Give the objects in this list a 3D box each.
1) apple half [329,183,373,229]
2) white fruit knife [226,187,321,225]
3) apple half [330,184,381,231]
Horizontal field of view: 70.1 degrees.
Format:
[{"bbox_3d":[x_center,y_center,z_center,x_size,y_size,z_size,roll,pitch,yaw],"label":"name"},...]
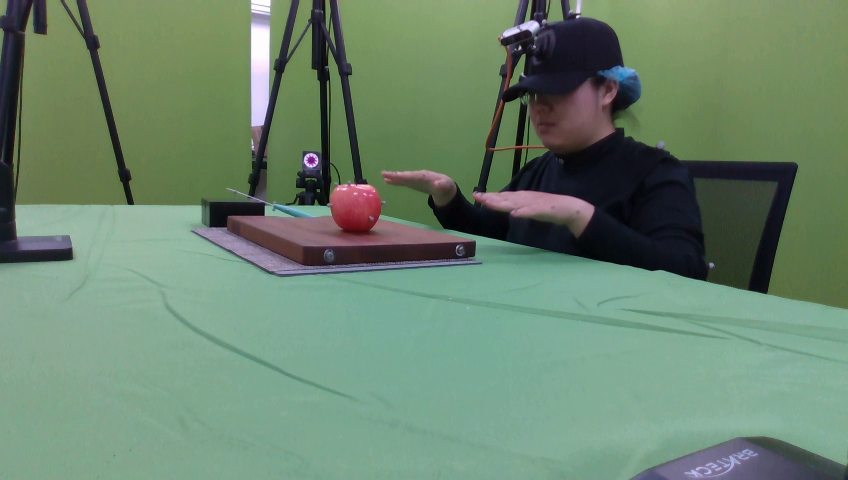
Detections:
[{"bbox_3d":[-0.123,-0.056,0.970,0.082,0.081,0.032,-3,13,-36],"label":"apple half"},{"bbox_3d":[-0.298,-0.068,1.213,0.208,0.016,0.027,20,-3,-31],"label":"white fruit knife"},{"bbox_3d":[-0.100,-0.049,0.939,0.081,0.074,0.053,2,11,-36],"label":"apple half"}]
